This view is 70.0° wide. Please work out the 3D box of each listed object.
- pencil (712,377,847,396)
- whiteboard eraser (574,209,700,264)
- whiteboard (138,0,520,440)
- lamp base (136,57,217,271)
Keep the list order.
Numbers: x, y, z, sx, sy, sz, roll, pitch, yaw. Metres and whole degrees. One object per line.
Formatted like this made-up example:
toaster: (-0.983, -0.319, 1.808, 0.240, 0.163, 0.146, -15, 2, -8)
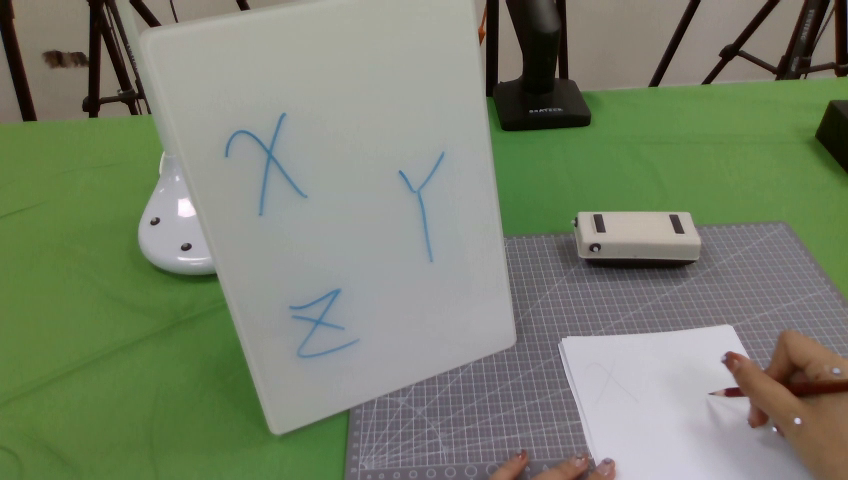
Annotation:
pencil: (0.262, 0.094, 0.392, 0.012, 0.194, 0.012, 6, 72, -20)
whiteboard eraser: (0.208, -0.003, 0.600, 0.112, 0.042, 0.055, 1, 42, 5)
whiteboard: (-0.064, -0.035, 0.499, 0.217, 0.307, 0.142, -17, 23, -15)
lamp base: (-0.239, -0.086, 0.618, 0.177, 0.182, 0.160, 25, 48, 32)
